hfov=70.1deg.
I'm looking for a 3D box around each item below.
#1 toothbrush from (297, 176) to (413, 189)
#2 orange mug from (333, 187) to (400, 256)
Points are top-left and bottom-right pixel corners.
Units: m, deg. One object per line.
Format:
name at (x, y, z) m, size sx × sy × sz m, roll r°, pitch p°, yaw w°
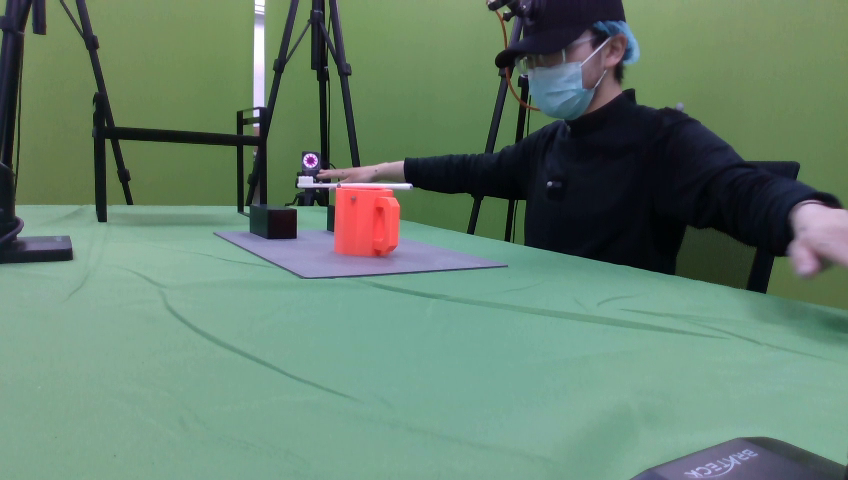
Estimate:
toothbrush at (-0.101, -0.085, 0.911) m, size 0.183 × 0.016 × 0.014 m, roll -1°, pitch 2°, yaw -25°
orange mug at (-0.080, -0.029, 0.888) m, size 0.084 × 0.100 × 0.125 m, roll -3°, pitch 5°, yaw -40°
